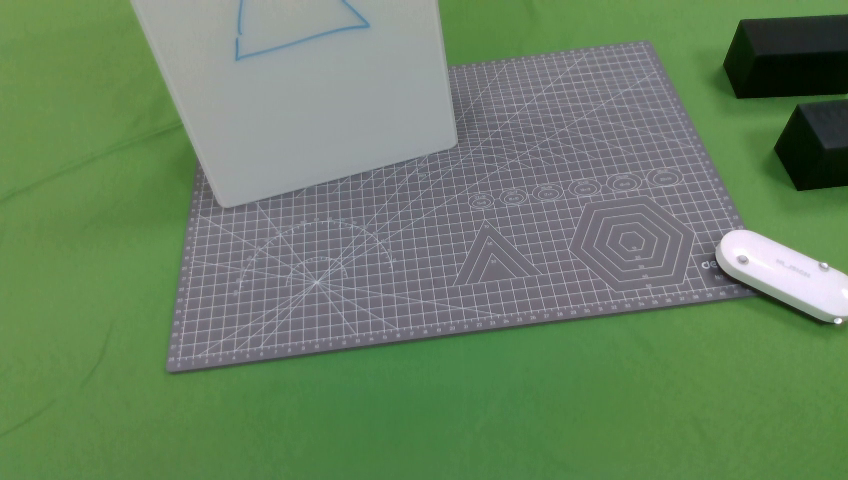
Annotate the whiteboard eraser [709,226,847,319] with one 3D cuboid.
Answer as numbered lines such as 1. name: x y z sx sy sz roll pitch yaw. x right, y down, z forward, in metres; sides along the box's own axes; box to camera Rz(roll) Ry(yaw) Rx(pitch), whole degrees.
1. whiteboard eraser: 0.262 0.023 0.442 0.100 0.019 0.041 28 61 19

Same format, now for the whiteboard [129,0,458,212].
1. whiteboard: -0.112 -0.212 0.496 0.217 0.308 0.142 -16 36 -6
